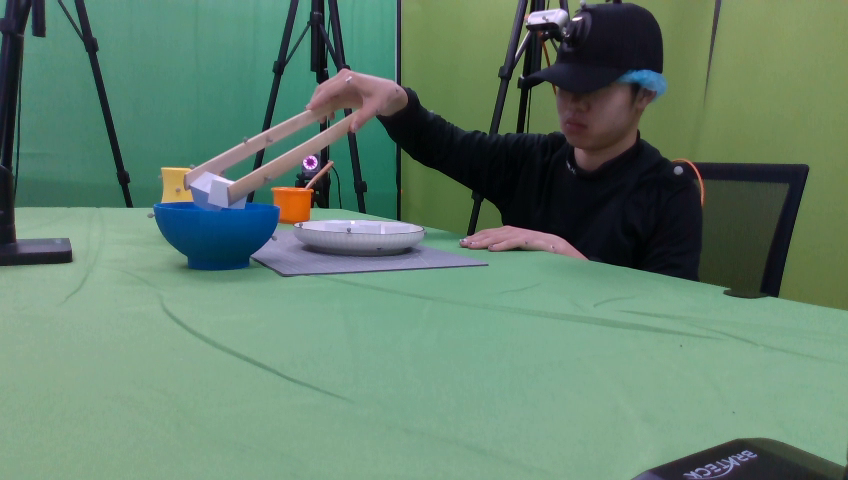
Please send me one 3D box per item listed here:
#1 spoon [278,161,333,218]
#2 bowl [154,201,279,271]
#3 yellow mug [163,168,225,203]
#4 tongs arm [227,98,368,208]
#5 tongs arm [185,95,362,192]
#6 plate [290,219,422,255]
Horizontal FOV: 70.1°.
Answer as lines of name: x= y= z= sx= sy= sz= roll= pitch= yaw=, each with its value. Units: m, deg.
spoon: x=-0.262 y=-0.115 z=1.359 sx=0.041 sy=0.194 sz=0.022 roll=13 pitch=-33 yaw=38
bowl: x=-0.263 y=-0.005 z=0.772 sx=0.151 sy=0.077 sz=0.151 roll=2 pitch=8 yaw=0
yellow mug: x=-0.383 y=-0.087 z=1.026 sx=0.130 sy=0.064 sz=0.100 roll=11 pitch=11 yaw=44
tongs arm: x=-0.166 y=-0.139 z=0.883 sx=0.028 sy=0.028 sz=0.388 roll=15 pitch=33 yaw=16
tongs arm: x=-0.201 y=-0.152 z=0.893 sx=0.050 sy=0.026 sz=0.385 roll=18 pitch=34 yaw=14
plate: x=-0.108 y=-0.005 z=0.963 sx=0.208 sy=0.039 sz=0.207 roll=3 pitch=7 yaw=0
